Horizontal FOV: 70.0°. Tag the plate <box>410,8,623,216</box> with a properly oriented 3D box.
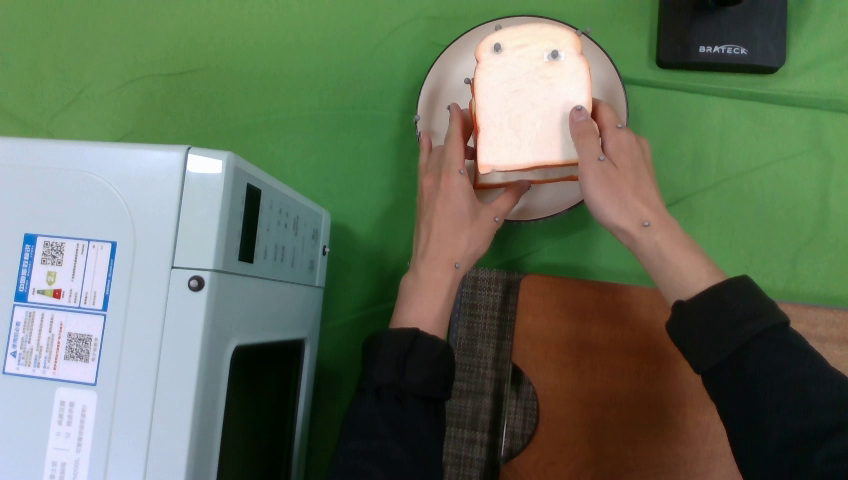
[{"bbox_3d":[0.091,-0.125,0.609,0.207,0.039,0.207,-1,85,7],"label":"plate"}]

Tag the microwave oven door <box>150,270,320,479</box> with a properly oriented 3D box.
[{"bbox_3d":[-0.148,0.205,0.482,0.039,0.244,0.355,4,84,7],"label":"microwave oven door"}]

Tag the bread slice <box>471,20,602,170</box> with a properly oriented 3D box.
[{"bbox_3d":[0.090,-0.128,0.533,0.107,0.018,0.133,-9,79,4],"label":"bread slice"}]

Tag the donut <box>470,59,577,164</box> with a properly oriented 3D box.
[{"bbox_3d":[0.091,-0.119,0.561,0.099,0.048,0.098,-2,81,10],"label":"donut"}]

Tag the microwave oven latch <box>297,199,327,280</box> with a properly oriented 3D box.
[{"bbox_3d":[-0.115,-0.001,0.601,0.030,0.029,0.079,5,86,7],"label":"microwave oven latch"}]

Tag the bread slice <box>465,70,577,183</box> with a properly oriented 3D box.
[{"bbox_3d":[0.090,-0.123,0.591,0.105,0.019,0.131,-5,82,2],"label":"bread slice"}]

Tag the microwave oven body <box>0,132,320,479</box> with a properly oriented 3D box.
[{"bbox_3d":[-0.289,0.153,0.509,0.325,0.261,0.440,4,85,7],"label":"microwave oven body"}]
